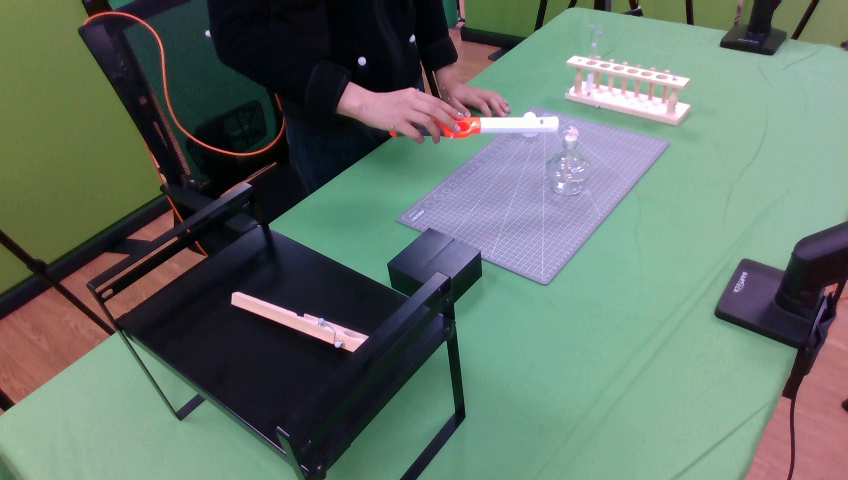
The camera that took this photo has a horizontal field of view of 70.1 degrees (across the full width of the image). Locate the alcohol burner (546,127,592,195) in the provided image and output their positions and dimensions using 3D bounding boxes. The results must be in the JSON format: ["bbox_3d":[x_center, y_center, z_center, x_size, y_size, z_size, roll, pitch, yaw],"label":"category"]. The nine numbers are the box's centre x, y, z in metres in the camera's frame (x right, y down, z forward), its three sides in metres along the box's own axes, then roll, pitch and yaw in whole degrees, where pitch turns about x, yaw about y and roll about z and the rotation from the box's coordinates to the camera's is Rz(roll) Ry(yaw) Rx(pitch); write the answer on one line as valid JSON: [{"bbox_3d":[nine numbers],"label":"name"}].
[{"bbox_3d":[0.247,-0.137,1.024,0.078,0.119,0.077,-4,38,4],"label":"alcohol burner"}]

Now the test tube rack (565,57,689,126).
[{"bbox_3d":[0.412,-0.311,1.230,0.240,0.085,0.067,23,49,32],"label":"test tube rack"}]

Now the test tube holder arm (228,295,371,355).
[{"bbox_3d":[-0.132,0.084,0.618,0.177,0.015,0.013,14,6,24],"label":"test tube holder arm"}]

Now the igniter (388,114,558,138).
[{"bbox_3d":[0.081,-0.187,0.990,0.277,0.025,0.057,-1,44,-1],"label":"igniter"}]

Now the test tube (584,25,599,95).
[{"bbox_3d":[0.339,-0.361,1.224,0.017,0.151,0.017,-4,45,4],"label":"test tube"}]

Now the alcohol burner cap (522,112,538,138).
[{"bbox_3d":[0.210,-0.230,1.195,0.034,0.048,0.033,-6,41,5],"label":"alcohol burner cap"}]

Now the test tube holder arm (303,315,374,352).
[{"bbox_3d":[-0.089,0.094,0.604,0.087,0.015,0.010,14,6,26],"label":"test tube holder arm"}]
